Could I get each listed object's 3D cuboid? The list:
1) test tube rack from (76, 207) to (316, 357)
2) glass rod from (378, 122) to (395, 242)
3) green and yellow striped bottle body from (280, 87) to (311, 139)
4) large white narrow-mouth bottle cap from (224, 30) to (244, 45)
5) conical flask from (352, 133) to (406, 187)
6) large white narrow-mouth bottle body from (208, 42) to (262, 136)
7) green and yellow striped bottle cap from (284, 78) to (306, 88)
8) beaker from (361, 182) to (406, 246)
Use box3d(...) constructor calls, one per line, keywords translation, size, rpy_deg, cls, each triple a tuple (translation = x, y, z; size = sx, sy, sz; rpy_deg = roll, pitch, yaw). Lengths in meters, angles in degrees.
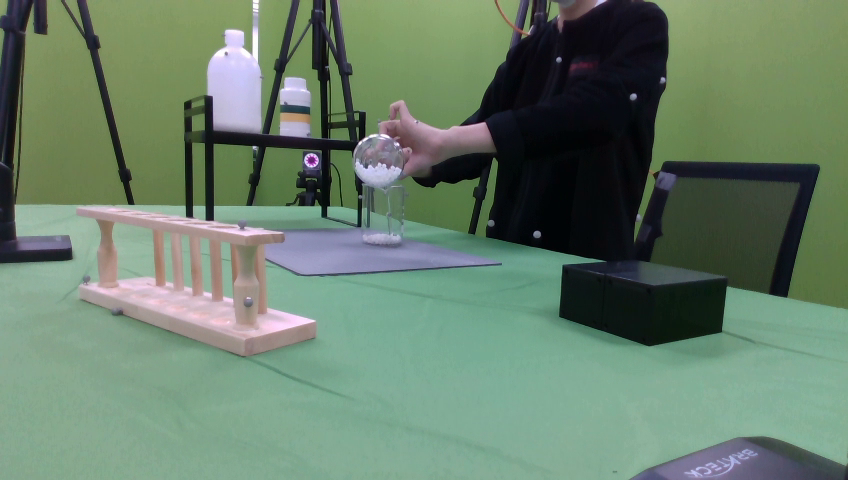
box3d(translation=(-0.196, 0.023, 0.500), size=(0.241, 0.085, 0.067), rpy_deg=(8, 9, 36), cls="test tube rack")
box3d(translation=(-0.062, -0.096, 0.993), size=(0.008, 0.199, 0.008), rpy_deg=(-7, -2, 0), cls="glass rod")
box3d(translation=(-0.269, -0.274, 1.266), size=(0.063, 0.119, 0.063), rpy_deg=(3, 7, 0), cls="green and yellow striped bottle body")
box3d(translation=(-0.365, -0.389, 1.166), size=(0.038, 0.024, 0.037), rpy_deg=(2, 9, 0), cls="large white narrow-mouth bottle cap")
box3d(translation=(-0.063, -0.116, 0.902), size=(0.075, 0.075, 0.122), rpy_deg=(2, 4, -1), cls="conical flask")
box3d(translation=(-0.368, -0.304, 1.181), size=(0.102, 0.194, 0.101), rpy_deg=(2, 9, 0), cls="large white narrow-mouth bottle body")
box3d(translation=(-0.268, -0.325, 1.259), size=(0.045, 0.020, 0.045), rpy_deg=(5, 8, 0), cls="green and yellow striped bottle cap")
box3d(translation=(-0.067, -0.042, 0.993), size=(0.074, 0.100, 0.084), rpy_deg=(1, 8, -8), cls="beaker")
